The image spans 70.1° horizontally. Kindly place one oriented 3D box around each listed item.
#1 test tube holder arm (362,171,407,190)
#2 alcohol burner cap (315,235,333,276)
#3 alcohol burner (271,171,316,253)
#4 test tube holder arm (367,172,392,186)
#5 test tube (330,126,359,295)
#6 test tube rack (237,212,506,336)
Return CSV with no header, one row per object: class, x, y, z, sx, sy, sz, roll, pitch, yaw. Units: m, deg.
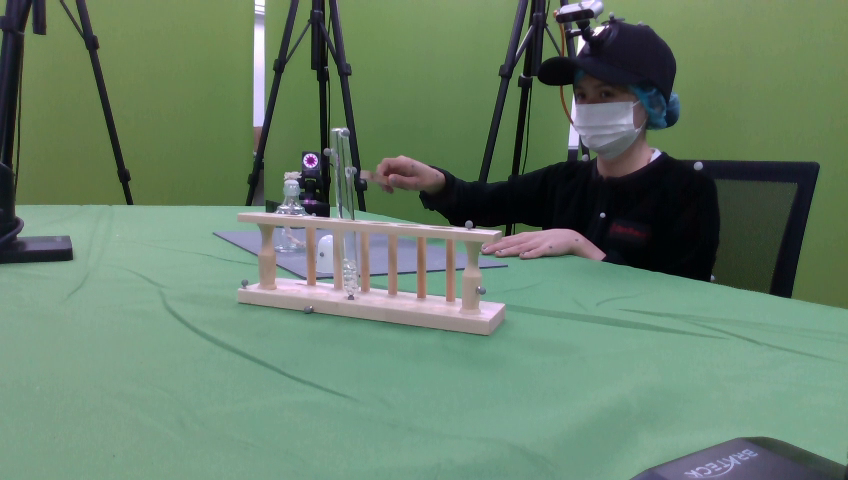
test tube holder arm,-0.065,-0.103,1.058,0.013,0.015,0.179,15,4,18
alcohol burner cap,-0.116,0.018,0.728,0.034,0.048,0.034,3,6,0
alcohol burner,-0.196,-0.041,0.884,0.078,0.119,0.078,3,5,0
test tube holder arm,-0.075,-0.102,1.013,0.010,0.015,0.088,15,4,19
test tube,-0.070,-0.024,0.533,0.017,0.150,0.017,-3,10,1
test tube rack,-0.049,0.024,0.552,0.242,0.085,0.067,5,8,18
